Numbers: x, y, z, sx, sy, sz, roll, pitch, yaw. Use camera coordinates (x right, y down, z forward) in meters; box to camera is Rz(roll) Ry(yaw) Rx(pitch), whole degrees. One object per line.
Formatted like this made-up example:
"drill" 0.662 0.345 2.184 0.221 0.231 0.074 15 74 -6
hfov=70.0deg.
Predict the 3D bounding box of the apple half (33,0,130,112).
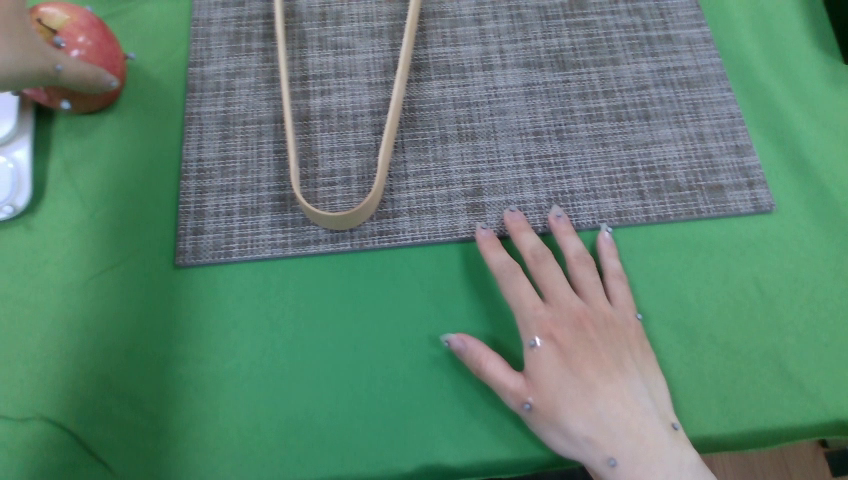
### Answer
"apple half" -0.262 -0.144 0.476 0.053 0.075 0.080 -14 63 -9

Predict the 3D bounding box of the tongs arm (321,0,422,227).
"tongs arm" -0.028 -0.188 0.514 0.051 0.027 0.382 6 67 1

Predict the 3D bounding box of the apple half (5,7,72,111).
"apple half" -0.300 -0.134 0.470 0.033 0.082 0.080 -14 67 -10

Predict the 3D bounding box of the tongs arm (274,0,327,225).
"tongs arm" -0.113 -0.188 0.515 0.028 0.028 0.384 -6 67 -7

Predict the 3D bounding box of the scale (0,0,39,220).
"scale" -0.383 -0.100 0.478 0.149 0.032 0.199 -10 67 -4
